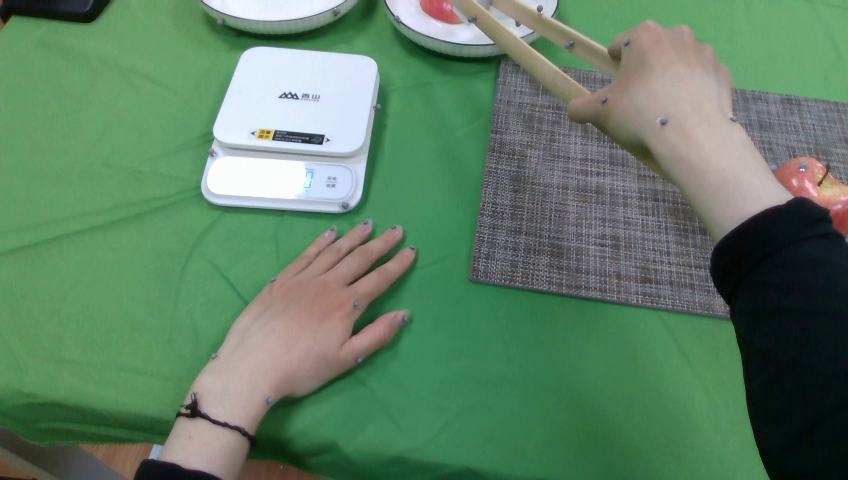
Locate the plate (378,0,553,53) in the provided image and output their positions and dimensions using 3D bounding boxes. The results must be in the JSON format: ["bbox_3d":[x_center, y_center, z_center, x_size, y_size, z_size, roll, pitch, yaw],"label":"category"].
[{"bbox_3d":[0.049,-0.288,0.725,0.209,0.038,0.207,1,55,-1],"label":"plate"}]

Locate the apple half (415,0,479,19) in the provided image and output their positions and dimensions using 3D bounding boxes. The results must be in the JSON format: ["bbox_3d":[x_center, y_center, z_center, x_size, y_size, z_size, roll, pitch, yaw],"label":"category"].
[{"bbox_3d":[0.030,-0.300,0.726,0.081,0.033,0.080,0,52,1],"label":"apple half"}]

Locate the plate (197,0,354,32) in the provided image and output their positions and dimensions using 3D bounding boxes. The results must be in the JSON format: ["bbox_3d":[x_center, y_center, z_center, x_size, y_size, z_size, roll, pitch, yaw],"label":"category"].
[{"bbox_3d":[-0.175,-0.315,0.735,0.208,0.039,0.205,1,55,-1],"label":"plate"}]

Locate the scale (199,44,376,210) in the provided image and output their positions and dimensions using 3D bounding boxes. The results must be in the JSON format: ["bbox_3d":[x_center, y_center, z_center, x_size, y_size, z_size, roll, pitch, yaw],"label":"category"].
[{"bbox_3d":[-0.130,-0.118,0.602,0.149,0.032,0.199,4,55,1],"label":"scale"}]

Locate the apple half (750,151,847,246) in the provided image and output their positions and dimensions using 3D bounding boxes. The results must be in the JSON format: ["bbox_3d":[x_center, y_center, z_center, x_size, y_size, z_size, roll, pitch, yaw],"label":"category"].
[{"bbox_3d":[0.321,-0.030,0.530,0.053,0.075,0.080,-25,63,-14],"label":"apple half"}]

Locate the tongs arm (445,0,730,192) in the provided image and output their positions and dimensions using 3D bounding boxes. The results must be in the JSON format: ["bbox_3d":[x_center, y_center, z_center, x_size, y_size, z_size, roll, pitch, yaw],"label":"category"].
[{"bbox_3d":[0.113,-0.155,0.543,0.028,0.028,0.383,-23,48,-16],"label":"tongs arm"}]

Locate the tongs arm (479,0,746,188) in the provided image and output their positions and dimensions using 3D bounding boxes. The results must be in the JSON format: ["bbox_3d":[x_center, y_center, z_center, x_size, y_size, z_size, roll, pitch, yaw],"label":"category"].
[{"bbox_3d":[0.133,-0.164,0.549,0.051,0.027,0.380,-28,49,-17],"label":"tongs arm"}]
